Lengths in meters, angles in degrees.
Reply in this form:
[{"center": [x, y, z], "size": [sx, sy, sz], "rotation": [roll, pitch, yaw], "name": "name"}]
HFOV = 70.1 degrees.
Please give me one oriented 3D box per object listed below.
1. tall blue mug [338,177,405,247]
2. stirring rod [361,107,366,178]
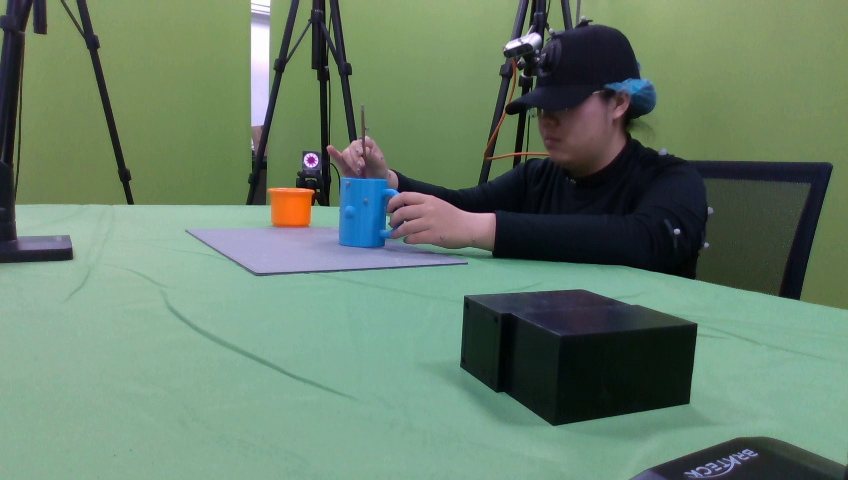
[{"center": [-0.083, -0.046, 0.977], "size": [0.107, 0.108, 0.078], "rotation": [3, 6, -1], "name": "tall blue mug"}, {"center": [-0.099, -0.128, 0.988], "size": [0.006, 0.176, 0.014], "rotation": [-2, 7, -15], "name": "stirring rod"}]
